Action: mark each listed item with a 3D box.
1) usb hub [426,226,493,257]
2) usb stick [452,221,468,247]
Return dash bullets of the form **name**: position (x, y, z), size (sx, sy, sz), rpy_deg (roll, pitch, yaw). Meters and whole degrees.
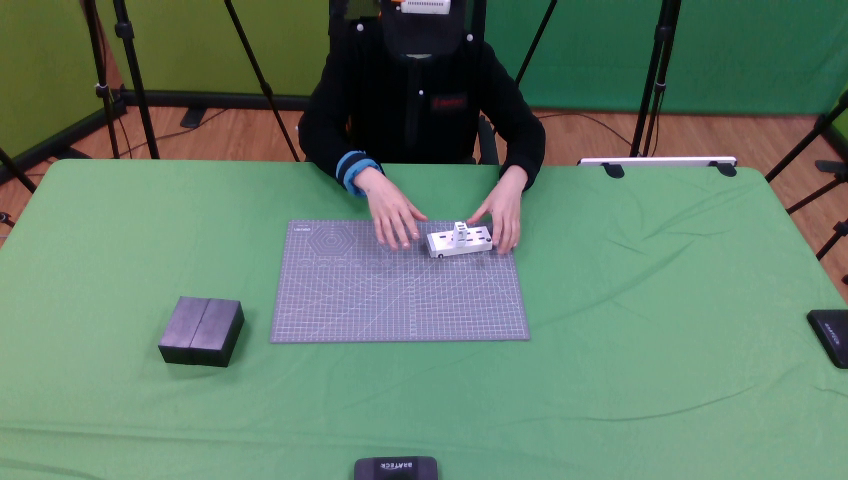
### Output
- **usb hub**: position (0.070, 0.003, 1.193), size (0.125, 0.025, 0.049), rpy_deg (-8, 48, -11)
- **usb stick**: position (0.068, -0.006, 1.161), size (0.021, 0.059, 0.027), rpy_deg (-8, 48, -14)
